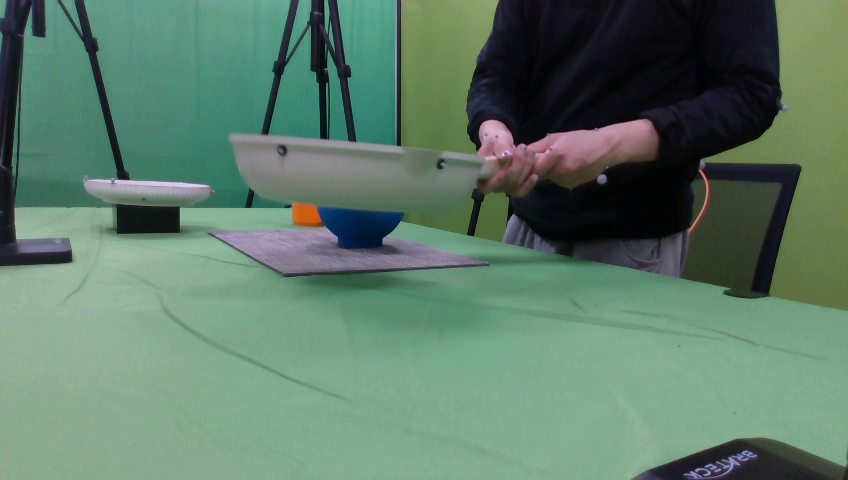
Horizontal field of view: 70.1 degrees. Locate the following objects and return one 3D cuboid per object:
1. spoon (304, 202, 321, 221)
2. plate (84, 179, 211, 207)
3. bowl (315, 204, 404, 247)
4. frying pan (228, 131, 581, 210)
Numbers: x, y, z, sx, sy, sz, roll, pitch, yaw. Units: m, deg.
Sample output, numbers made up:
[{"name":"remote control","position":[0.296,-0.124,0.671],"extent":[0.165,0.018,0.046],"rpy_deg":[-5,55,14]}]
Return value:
[{"name":"spoon","position":[-0.269,-0.113,1.336],"extent":[0.042,0.193,0.021],"rpy_deg":[-4,-34,-42]},{"name":"plate","position":[-0.495,-0.085,1.093],"extent":[0.208,0.039,0.207],"rpy_deg":[4,7,0]},{"name":"bowl","position":[-0.105,-0.032,0.992],"extent":[0.151,0.077,0.151],"rpy_deg":[3,7,0]},{"name":"frying pan","position":[0.013,-0.096,0.760],"extent":[0.490,0.102,0.305],"rpy_deg":[-8,13,-28]}]
